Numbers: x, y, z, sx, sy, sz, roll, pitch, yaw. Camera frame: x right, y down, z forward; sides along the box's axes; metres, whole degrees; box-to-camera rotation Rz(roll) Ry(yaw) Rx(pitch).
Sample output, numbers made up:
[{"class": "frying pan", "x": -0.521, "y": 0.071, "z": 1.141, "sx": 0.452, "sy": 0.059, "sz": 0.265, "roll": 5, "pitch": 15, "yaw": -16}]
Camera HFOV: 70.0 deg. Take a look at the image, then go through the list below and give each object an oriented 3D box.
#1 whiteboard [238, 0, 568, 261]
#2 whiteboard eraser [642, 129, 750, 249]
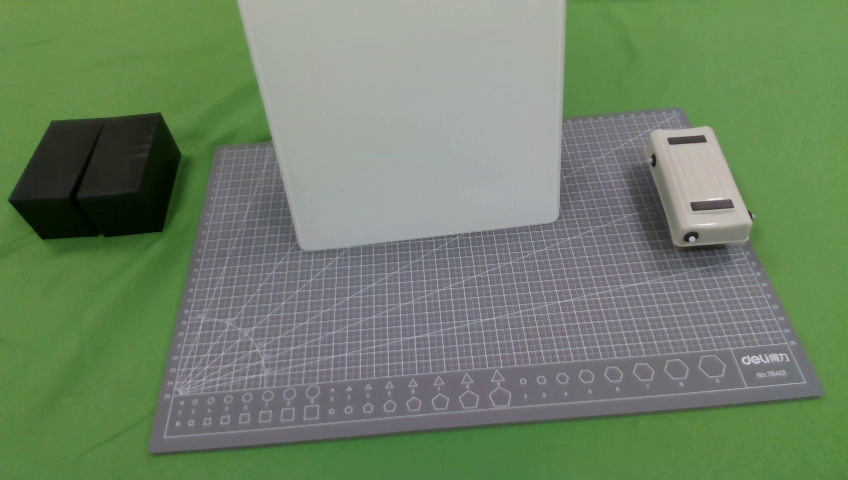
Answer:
[{"class": "whiteboard", "x": -0.012, "y": -0.160, "z": 0.475, "sx": 0.217, "sy": 0.308, "sz": 0.142, "roll": -6, "pitch": 32, "yaw": 0}, {"class": "whiteboard eraser", "x": 0.218, "y": -0.040, "z": 0.493, "sx": 0.055, "sy": 0.042, "sz": 0.111, "roll": -2, "pitch": 51, "yaw": 2}]
